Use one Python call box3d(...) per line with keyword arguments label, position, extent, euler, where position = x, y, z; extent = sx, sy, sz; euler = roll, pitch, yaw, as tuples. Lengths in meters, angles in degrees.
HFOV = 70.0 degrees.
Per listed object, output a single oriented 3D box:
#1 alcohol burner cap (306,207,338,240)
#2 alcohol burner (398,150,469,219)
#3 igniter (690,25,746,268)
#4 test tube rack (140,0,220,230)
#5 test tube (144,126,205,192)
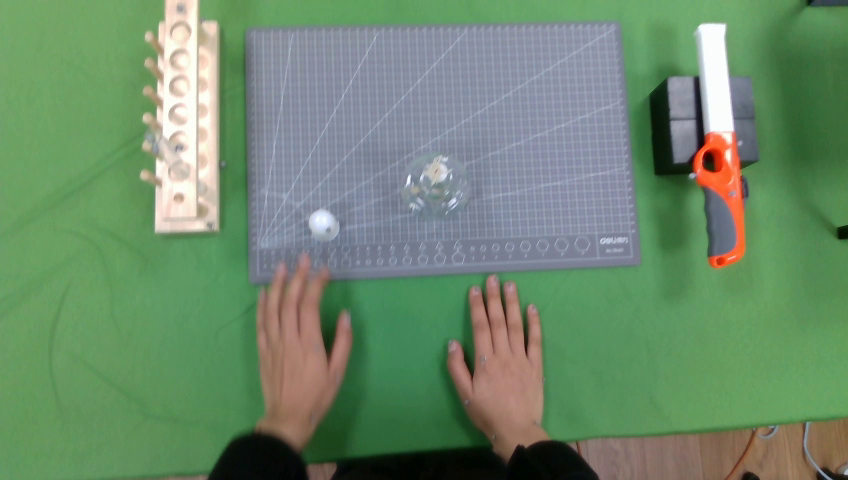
box3d(label="alcohol burner cap", position=(-0.114, -0.021, 0.670), extent=(0.034, 0.048, 0.033), euler=(1, 81, -3))
box3d(label="alcohol burner", position=(0.011, -0.063, 0.648), extent=(0.078, 0.119, 0.077), euler=(0, 83, -2))
box3d(label="igniter", position=(0.323, -0.106, 0.673), extent=(0.057, 0.025, 0.275), euler=(0, 81, -1))
box3d(label="test tube rack", position=(-0.267, -0.137, 0.656), extent=(0.067, 0.085, 0.241), euler=(-2, 83, -3))
box3d(label="test tube", position=(-0.243, -0.076, 0.600), extent=(0.017, 0.150, 0.017), euler=(1, 77, -5))
